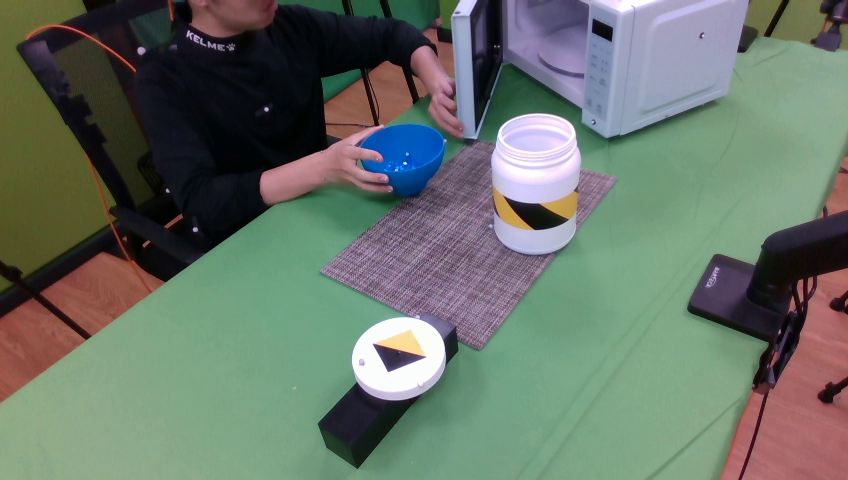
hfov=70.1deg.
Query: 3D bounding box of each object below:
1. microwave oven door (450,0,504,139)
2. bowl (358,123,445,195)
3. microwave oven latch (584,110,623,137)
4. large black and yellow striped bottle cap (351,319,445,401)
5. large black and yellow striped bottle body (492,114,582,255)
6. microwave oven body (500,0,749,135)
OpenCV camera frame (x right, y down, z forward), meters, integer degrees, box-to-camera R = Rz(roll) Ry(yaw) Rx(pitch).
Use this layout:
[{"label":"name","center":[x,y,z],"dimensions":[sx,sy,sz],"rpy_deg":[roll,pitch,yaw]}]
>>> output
[{"label":"microwave oven door","center":[0.115,-0.403,1.228],"dimensions":[0.039,0.245,0.355],"rpy_deg":[5,42,15]},{"label":"bowl","center":[-0.034,-0.131,1.056],"dimensions":[0.151,0.077,0.150],"rpy_deg":[-4,41,4]},{"label":"microwave oven latch","center":[0.337,-0.222,1.142],"dimensions":[0.030,0.029,0.078],"rpy_deg":[-21,42,-14]},{"label":"large black and yellow striped bottle cap","center":[-0.031,0.143,0.735],"dimensions":[0.115,0.019,0.114],"rpy_deg":[-3,40,3]},{"label":"large black and yellow striped bottle body","center":[0.169,-0.083,0.912],"dimensions":[0.131,0.185,0.130],"rpy_deg":[-4,41,4]},{"label":"microwave oven body","center":[0.382,-0.444,1.246],"dimensions":[0.327,0.261,0.437],"rpy_deg":[-22,42,-16]}]
